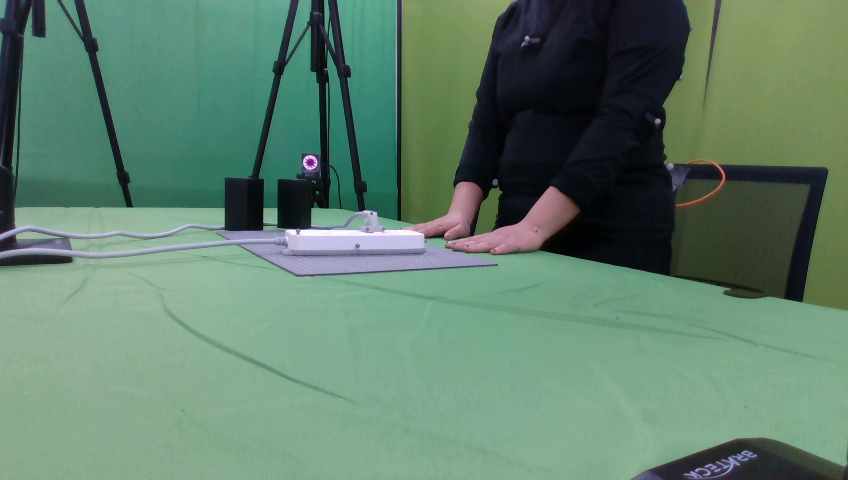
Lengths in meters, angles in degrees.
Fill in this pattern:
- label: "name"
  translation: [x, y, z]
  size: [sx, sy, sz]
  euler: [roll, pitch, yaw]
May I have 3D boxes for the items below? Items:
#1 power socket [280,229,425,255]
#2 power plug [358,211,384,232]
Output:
- label: "power socket"
  translation: [-0.105, 0.002, 0.920]
  size: [0.228, 0.032, 0.072]
  euler: [-1, 7, -23]
- label: "power plug"
  translation: [-0.085, -0.020, 0.958]
  size: [0.035, 0.052, 0.072]
  euler: [2, 5, -12]
